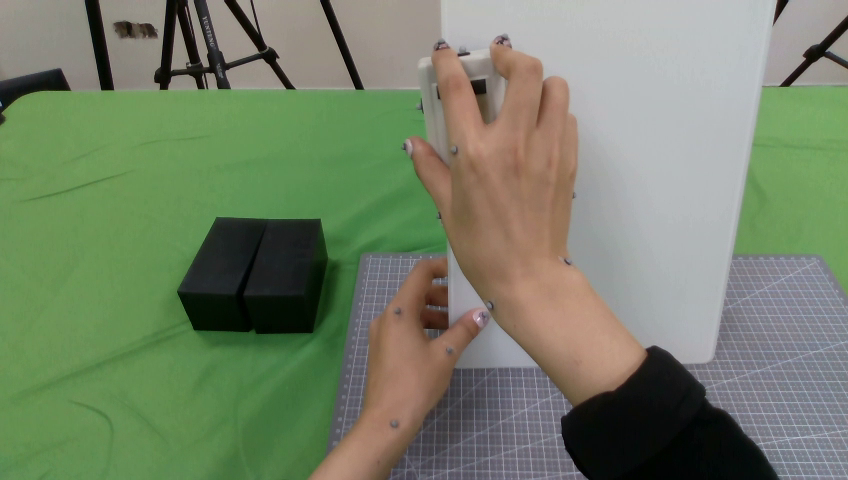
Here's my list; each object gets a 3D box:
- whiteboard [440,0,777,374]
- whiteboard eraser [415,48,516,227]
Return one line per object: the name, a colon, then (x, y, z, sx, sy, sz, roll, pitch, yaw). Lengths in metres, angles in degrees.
whiteboard: (0.125, -0.060, 0.499, 0.217, 0.307, 0.143, -1, 23, 2)
whiteboard eraser: (0.029, -0.067, 0.403, 0.055, 0.113, 0.041, -7, 20, 6)
